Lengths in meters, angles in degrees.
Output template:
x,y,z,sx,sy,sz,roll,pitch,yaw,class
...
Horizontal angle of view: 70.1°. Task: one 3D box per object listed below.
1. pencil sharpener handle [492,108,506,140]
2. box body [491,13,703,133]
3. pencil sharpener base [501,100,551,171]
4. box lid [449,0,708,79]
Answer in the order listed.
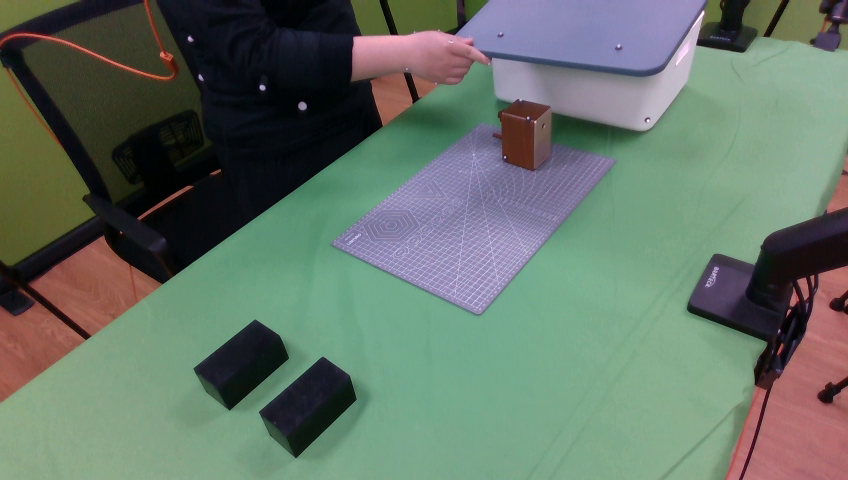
x,y,z,sx,sy,sz,roll,pitch,yaw,class
0.141,-0.215,1.114,0.030,0.068,0.036,23,41,32,pencil sharpener handle
0.346,-0.374,1.251,0.361,0.161,0.255,20,48,29,box body
0.184,-0.191,1.096,0.076,0.107,0.061,23,49,32,pencil sharpener base
0.253,-0.362,1.011,0.368,0.015,0.263,18,54,31,box lid
